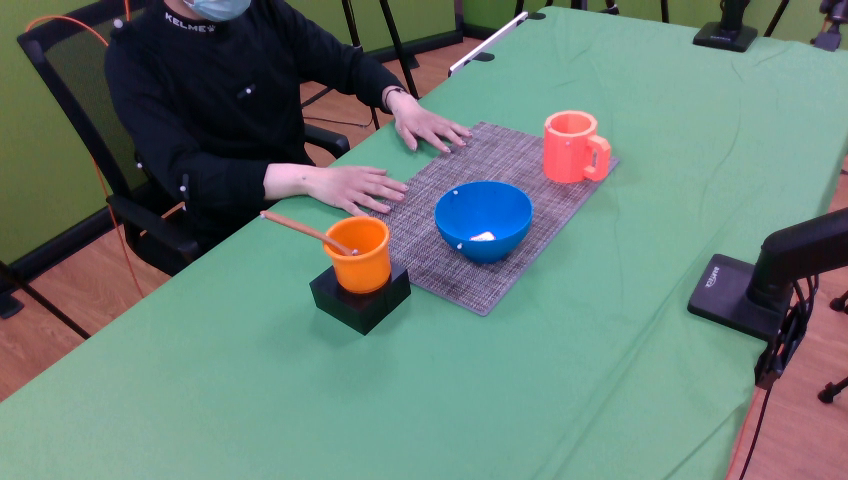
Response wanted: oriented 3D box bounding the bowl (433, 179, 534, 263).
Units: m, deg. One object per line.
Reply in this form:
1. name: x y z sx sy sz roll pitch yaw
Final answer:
1. bowl: 0.093 -0.018 0.928 0.151 0.077 0.150 -4 41 4

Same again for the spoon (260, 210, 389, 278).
1. spoon: -0.129 0.003 0.809 0.021 0.195 0.041 -41 33 31

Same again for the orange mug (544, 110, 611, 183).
1. orange mug: 0.266 -0.157 1.049 0.084 0.101 0.125 -32 42 -26
